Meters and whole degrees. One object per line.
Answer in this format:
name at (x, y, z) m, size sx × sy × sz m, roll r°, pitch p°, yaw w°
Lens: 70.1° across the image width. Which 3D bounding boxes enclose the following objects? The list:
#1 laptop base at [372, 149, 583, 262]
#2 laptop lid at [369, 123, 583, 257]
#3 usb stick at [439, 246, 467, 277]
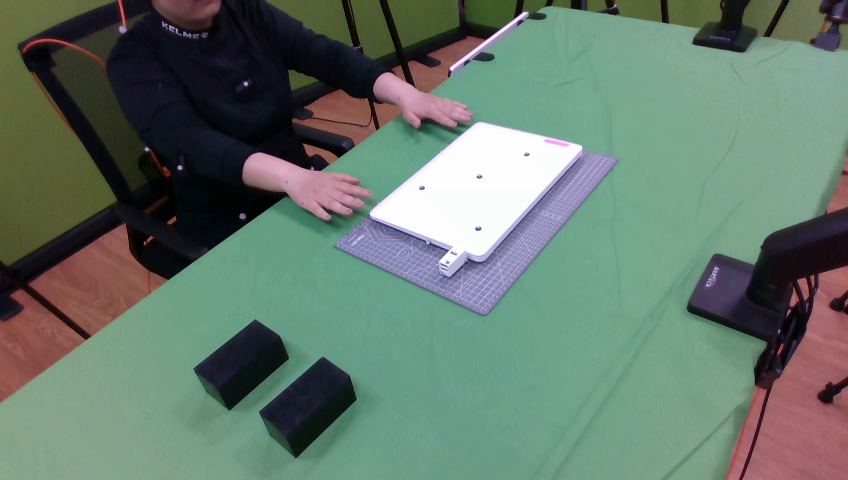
laptop base at (0.101, -0.097, 1.071) m, size 0.233 × 0.023 × 0.355 m, roll 19°, pitch 47°, yaw 32°
laptop lid at (0.097, -0.106, 1.065) m, size 0.240 × 0.013 × 0.358 m, roll 22°, pitch 48°, yaw 33°
usb stick at (0.048, 0.028, 0.913) m, size 0.021 × 0.027 × 0.059 m, roll 23°, pitch 47°, yaw 31°
